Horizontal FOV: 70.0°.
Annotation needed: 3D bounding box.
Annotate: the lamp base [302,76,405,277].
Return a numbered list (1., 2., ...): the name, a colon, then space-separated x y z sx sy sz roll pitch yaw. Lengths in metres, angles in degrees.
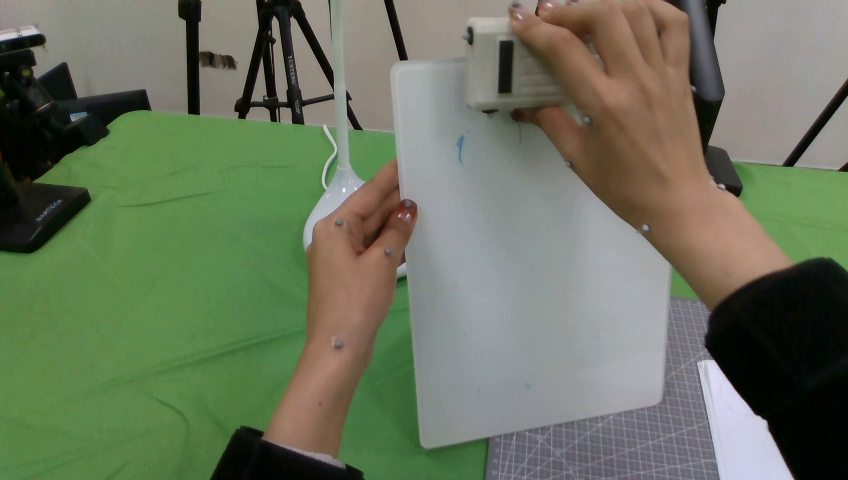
1. lamp base: -0.068 -0.077 0.666 0.161 0.182 0.177 -26 42 -30

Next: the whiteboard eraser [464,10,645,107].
1. whiteboard eraser: 0.082 -0.116 0.390 0.113 0.056 0.041 -5 27 -8

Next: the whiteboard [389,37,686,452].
1. whiteboard: 0.080 -0.007 0.523 0.218 0.307 0.142 -7 19 -9
